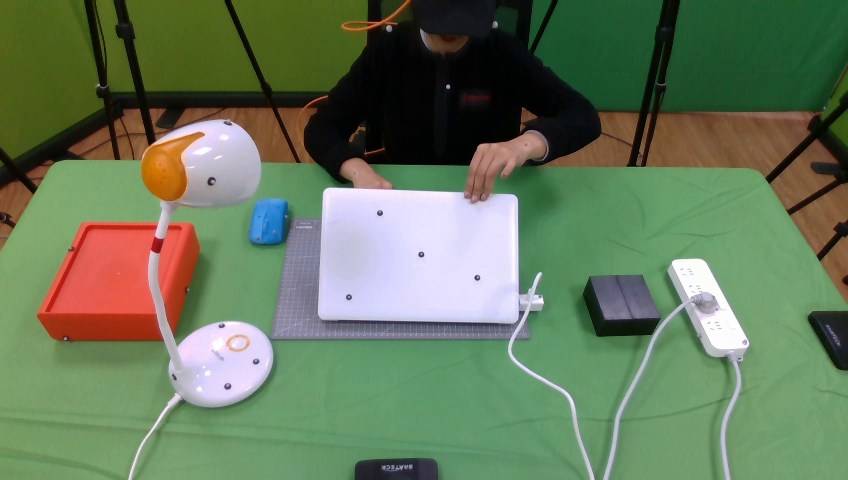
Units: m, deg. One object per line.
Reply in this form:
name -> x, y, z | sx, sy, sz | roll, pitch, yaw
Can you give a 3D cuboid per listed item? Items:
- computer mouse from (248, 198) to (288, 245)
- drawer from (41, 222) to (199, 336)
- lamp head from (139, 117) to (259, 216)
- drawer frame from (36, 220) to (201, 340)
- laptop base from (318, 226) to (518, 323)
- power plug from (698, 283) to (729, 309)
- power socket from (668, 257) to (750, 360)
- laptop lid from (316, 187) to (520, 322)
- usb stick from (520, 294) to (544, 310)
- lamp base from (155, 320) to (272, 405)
computer mouse -> -0.309, -0.041, 1.205 | 0.063, 0.041, 0.116 | 3, 49, -3
drawer -> -0.519, 0.064, 1.058 | 0.195, 0.073, 0.210 | 1, 46, -4
lamp head -> -0.281, -0.086, 0.734 | 0.112, 0.113, 0.123 | 21, 25, 16
drawer frame -> -0.518, 0.065, 1.055 | 0.202, 0.083, 0.212 | 0, 47, -5
laptop base -> -0.011, 0.063, 1.137 | 0.354, 0.023, 0.234 | 1, 42, -3
power plug -> 0.510, 0.096, 1.060 | 0.052, 0.073, 0.035 | -21, 61, 9
power socket -> 0.517, 0.117, 1.110 | 0.072, 0.033, 0.225 | -3, 47, -4
laptop lid -> -0.007, 0.024, 1.065 | 0.357, 0.013, 0.241 | 3, 80, -3
usb stick -> 0.184, 0.111, 1.086 | 0.059, 0.027, 0.021 | -1, 49, -1
lamp base -> -0.330, 0.149, 0.918 | 0.160, 0.181, 0.179 | 26, 52, 20
